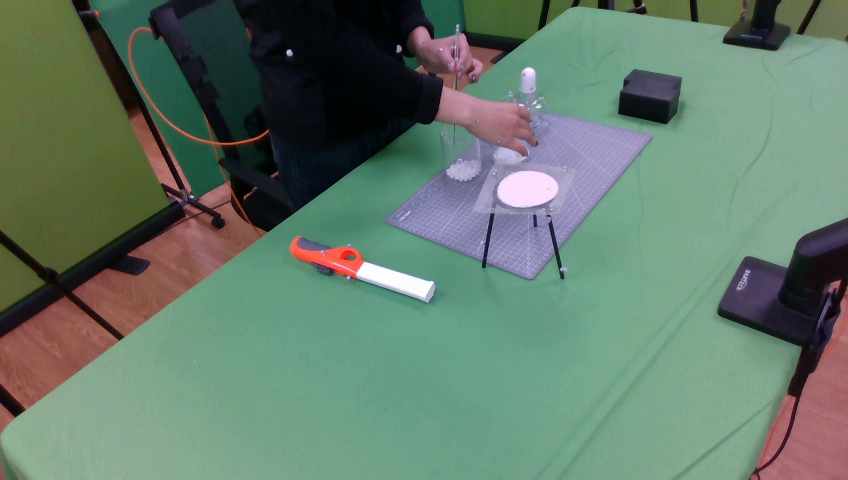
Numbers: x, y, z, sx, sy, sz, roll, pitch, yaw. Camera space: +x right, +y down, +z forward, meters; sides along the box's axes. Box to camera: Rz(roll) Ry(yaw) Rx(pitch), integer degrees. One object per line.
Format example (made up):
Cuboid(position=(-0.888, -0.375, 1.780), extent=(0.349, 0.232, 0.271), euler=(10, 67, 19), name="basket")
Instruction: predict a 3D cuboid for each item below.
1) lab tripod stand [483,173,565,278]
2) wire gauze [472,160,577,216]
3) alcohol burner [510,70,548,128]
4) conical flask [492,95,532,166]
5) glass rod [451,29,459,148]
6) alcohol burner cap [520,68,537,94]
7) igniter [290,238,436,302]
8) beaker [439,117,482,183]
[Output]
Cuboid(position=(0.151, -0.025, 0.896), extent=(0.148, 0.132, 0.147), euler=(-7, 40, 6), name="lab tripod stand")
Cuboid(position=(0.143, -0.073, 0.850), extent=(0.121, 0.011, 0.125), euler=(8, 43, 22), name="wire gauze")
Cuboid(position=(0.209, -0.287, 1.208), extent=(0.078, 0.119, 0.077), euler=(-5, 42, 5), name="alcohol burner")
Cuboid(position=(0.160, -0.203, 1.111), extent=(0.075, 0.122, 0.075), euler=(-6, 40, 5), name="conical flask")
Cuboid(position=(0.053, -0.259, 1.048), extent=(0.008, 0.200, 0.008), euler=(2, 17, 0), name="glass rod")
Cuboid(position=(0.205, -0.313, 1.183), extent=(0.034, 0.048, 0.033), euler=(-3, 50, 4), name="alcohol burner cap")
Cuboid(position=(-0.106, 0.043, 0.949), extent=(0.274, 0.025, 0.057), euler=(16, 57, 27), name="igniter")
Cuboid(position=(0.068, -0.160, 1.097), extent=(0.073, 0.101, 0.084), euler=(7, 43, 19), name="beaker")
